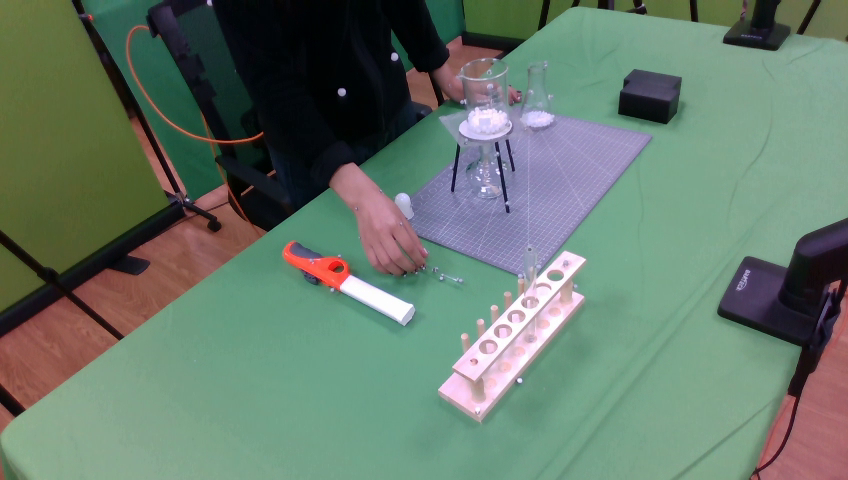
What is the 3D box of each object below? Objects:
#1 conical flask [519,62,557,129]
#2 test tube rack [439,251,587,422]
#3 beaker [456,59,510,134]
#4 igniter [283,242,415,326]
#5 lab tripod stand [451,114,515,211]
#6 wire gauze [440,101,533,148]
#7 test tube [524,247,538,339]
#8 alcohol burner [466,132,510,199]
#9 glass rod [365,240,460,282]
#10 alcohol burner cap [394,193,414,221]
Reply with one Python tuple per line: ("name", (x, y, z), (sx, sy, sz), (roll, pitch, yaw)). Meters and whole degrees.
("conical flask", (0.225, -0.287, 1.198), (0.075, 0.122, 0.075), (-6, 40, 5))
("test tube rack", (0.118, 0.111, 0.780), (0.066, 0.085, 0.243), (26, 51, 35))
("beaker", (0.097, -0.226, 0.964), (0.084, 0.101, 0.073), (-7, 39, 3))
("igniter", (-0.126, 0.062, 0.931), (0.274, 0.025, 0.057), (23, 61, 33))
("lab tripod stand", (0.113, -0.140, 1.037), (0.148, 0.132, 0.147), (-6, 38, 5))
("wire gauze", (0.100, -0.189, 0.995), (0.125, 0.011, 0.120), (-16, 38, -6))
("test tube", (0.133, 0.070, 0.749), (0.017, 0.151, 0.017), (-5, 38, 4))
("alcohol burner", (0.110, -0.132, 1.044), (0.078, 0.119, 0.077), (-5, 38, 5))
("glass rod", (-0.022, 0.032, 0.961), (0.198, 0.008, 0.008), (21, 49, 35))
("alcohol burner cap", (-0.036, -0.059, 1.040), (0.034, 0.048, 0.033), (-5, 40, 5))
